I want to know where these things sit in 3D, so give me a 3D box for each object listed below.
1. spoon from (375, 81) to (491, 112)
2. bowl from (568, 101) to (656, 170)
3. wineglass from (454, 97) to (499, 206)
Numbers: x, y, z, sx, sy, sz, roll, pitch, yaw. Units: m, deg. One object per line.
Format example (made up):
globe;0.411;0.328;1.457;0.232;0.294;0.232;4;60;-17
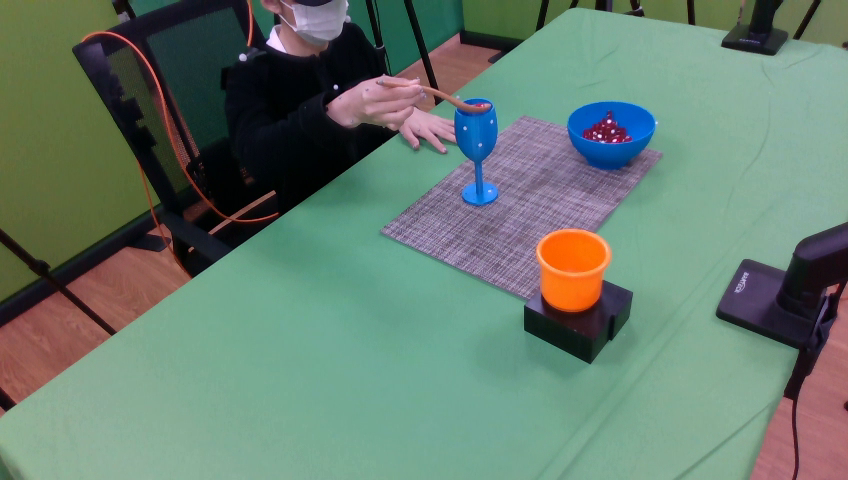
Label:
spoon;0.016;-0.216;0.900;0.195;0.021;0.041;8;3;-28
bowl;0.332;-0.179;1.084;0.151;0.077;0.150;-4;40;4
wineglass;0.090;-0.145;1.009;0.074;0.173;0.073;-5;40;4
